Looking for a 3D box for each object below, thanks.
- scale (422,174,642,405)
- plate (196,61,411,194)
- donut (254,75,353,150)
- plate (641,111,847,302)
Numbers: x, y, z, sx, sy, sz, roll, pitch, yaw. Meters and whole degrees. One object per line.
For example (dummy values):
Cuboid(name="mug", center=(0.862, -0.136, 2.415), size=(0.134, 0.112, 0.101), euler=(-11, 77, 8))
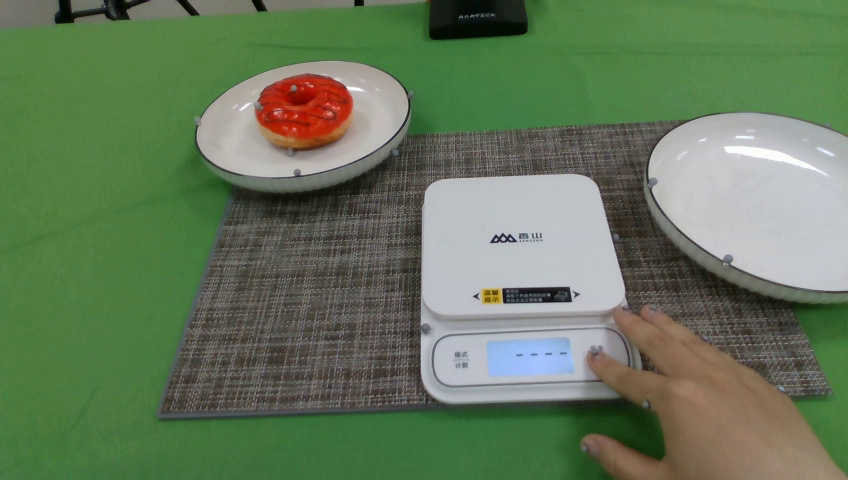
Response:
Cuboid(name="scale", center=(0.072, 0.027, 0.459), size=(0.148, 0.032, 0.199), euler=(-3, 48, 3))
Cuboid(name="plate", center=(-0.116, -0.111, 0.603), size=(0.209, 0.038, 0.207), euler=(-3, 45, 4))
Cuboid(name="donut", center=(-0.119, -0.127, 0.603), size=(0.099, 0.049, 0.098), euler=(-2, 45, 2))
Cuboid(name="plate", center=(0.280, -0.030, 0.489), size=(0.208, 0.039, 0.205), euler=(-1, 47, 1))
